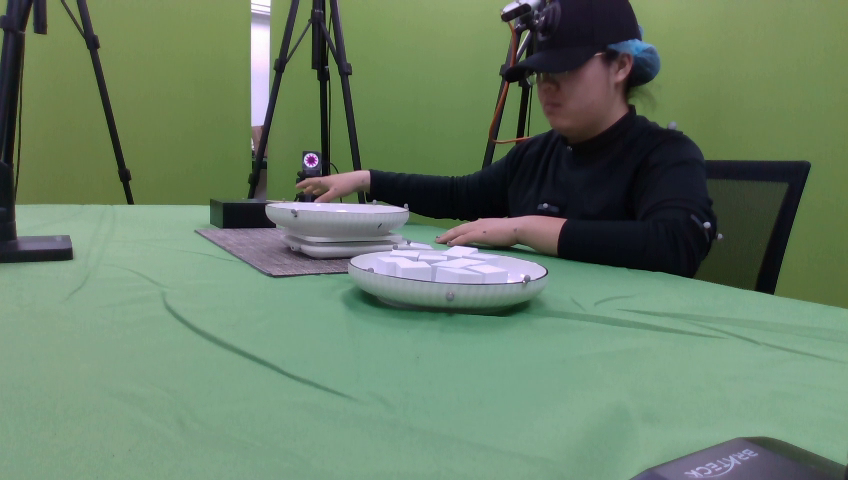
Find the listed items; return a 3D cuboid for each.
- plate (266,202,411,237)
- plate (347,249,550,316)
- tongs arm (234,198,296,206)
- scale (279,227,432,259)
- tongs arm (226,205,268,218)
[{"bbox_3d":[-0.123,-0.030,0.879,0.208,0.039,0.207,2,6,0],"label":"plate"},{"bbox_3d":[0.025,0.042,0.627,0.209,0.038,0.209,2,7,0],"label":"plate"},{"bbox_3d":[-0.263,-0.076,1.460,0.386,0.026,0.050,3,8,-8],"label":"tongs arm"},{"bbox_3d":[-0.100,0.001,0.899,0.202,0.031,0.148,-1,8,-31],"label":"scale"},{"bbox_3d":[-0.247,-0.062,1.381,0.389,0.028,0.028,0,5,-21],"label":"tongs arm"}]
